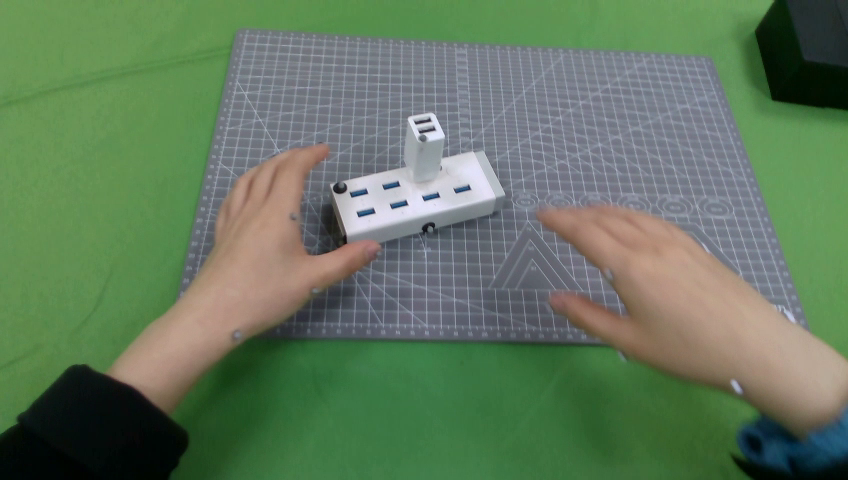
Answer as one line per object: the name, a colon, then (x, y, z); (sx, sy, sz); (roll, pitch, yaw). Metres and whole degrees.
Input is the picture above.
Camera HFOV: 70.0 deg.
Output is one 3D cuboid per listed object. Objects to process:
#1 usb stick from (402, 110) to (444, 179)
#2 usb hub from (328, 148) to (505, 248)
usb stick: (-0.002, -0.064, 0.441); (0.021, 0.059, 0.027); (-14, 58, -16)
usb hub: (-0.006, -0.034, 0.457); (0.125, 0.025, 0.049); (-14, 60, -14)
